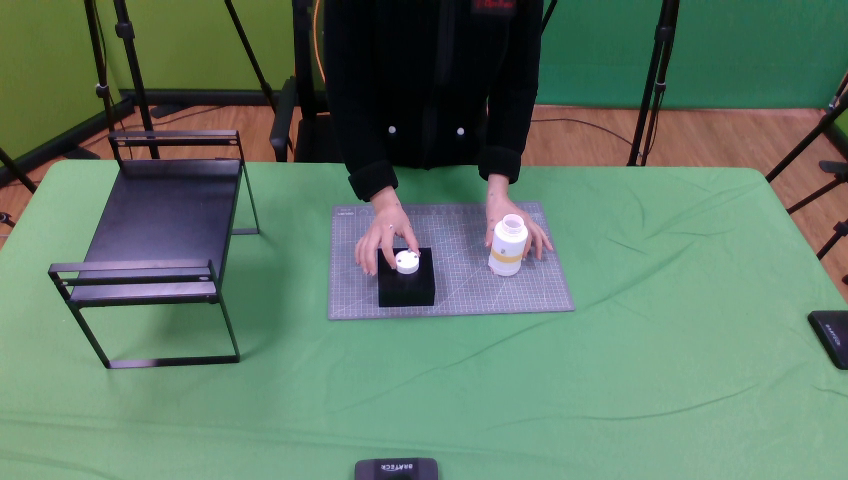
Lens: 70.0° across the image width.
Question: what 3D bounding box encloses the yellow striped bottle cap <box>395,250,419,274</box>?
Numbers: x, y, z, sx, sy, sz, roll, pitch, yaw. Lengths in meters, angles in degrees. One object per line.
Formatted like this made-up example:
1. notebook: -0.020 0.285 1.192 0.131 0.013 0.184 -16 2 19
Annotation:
1. yellow striped bottle cap: -0.031 0.039 1.087 0.044 0.019 0.044 1 43 -1

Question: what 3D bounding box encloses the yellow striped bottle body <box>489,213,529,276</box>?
1. yellow striped bottle body: 0.159 0.006 1.129 0.063 0.121 0.062 2 46 -1
